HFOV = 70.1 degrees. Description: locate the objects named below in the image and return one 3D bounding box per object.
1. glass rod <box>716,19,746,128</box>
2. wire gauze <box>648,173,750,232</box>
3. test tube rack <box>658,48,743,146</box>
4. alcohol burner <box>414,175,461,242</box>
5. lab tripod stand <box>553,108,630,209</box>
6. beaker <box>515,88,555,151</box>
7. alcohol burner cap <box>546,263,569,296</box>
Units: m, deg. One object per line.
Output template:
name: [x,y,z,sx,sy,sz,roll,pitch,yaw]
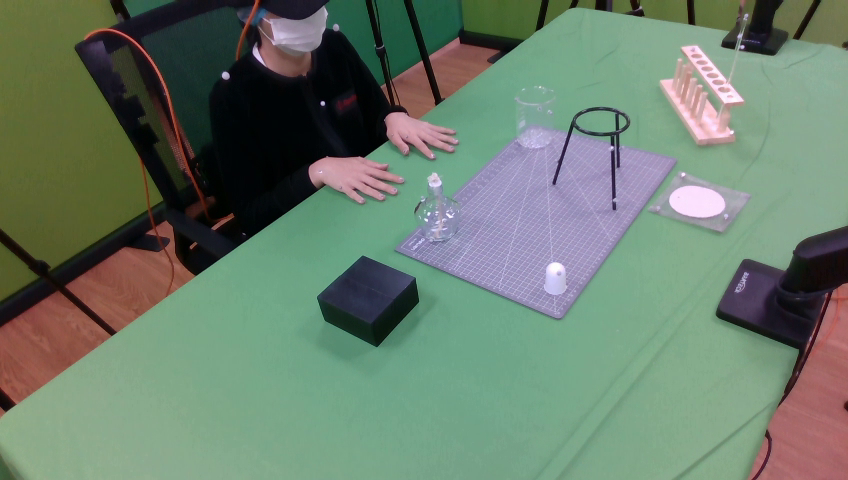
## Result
glass rod: [0.549,-0.294,1.086,0.008,0.200,0.008,-1,33,1]
wire gauze: [0.451,-0.062,0.990,0.120,0.011,0.125,26,49,32]
test tube rack: [0.532,-0.284,1.181,0.067,0.085,0.241,-5,40,4]
alcohol burner: [0.020,-0.055,0.963,0.078,0.119,0.077,-3,41,3]
lab tripod stand: [0.292,-0.144,1.010,0.148,0.132,0.147,-5,38,4]
beaker: [0.213,-0.230,1.152,0.073,0.101,0.084,20,47,29]
alcohol burner cap: [0.191,0.053,0.862,0.034,0.048,0.033,-5,40,5]
